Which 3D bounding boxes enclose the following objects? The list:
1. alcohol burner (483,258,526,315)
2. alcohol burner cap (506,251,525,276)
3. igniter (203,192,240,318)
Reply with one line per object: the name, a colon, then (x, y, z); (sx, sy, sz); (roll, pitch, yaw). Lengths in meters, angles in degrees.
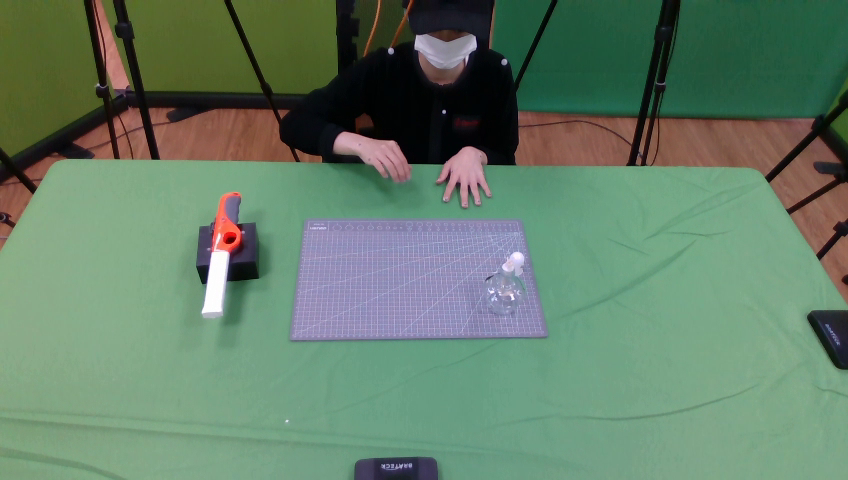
alcohol burner: (0.143, 0.076, 1.067); (0.078, 0.120, 0.077); (1, 45, -1)
alcohol burner cap: (0.175, 0.043, 1.151); (0.034, 0.048, 0.033); (1, 46, -1)
igniter: (-0.361, 0.017, 1.085); (0.057, 0.025, 0.274); (-3, 51, -6)
